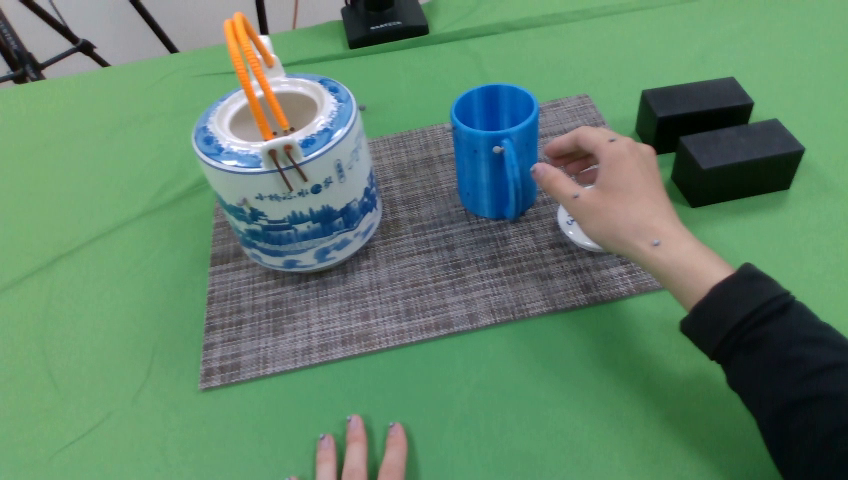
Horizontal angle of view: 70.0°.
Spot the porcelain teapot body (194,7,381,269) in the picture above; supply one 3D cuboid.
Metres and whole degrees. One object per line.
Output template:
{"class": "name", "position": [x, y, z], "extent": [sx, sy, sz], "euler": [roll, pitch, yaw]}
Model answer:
{"class": "porcelain teapot body", "position": [-0.133, -0.108, 0.560], "extent": [0.145, 0.227, 0.203], "euler": [-18, 47, -7]}

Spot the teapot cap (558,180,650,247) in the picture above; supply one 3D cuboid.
{"class": "teapot cap", "position": [0.168, -0.031, 0.566], "extent": [0.085, 0.044, 0.084], "euler": [-3, 45, 3]}

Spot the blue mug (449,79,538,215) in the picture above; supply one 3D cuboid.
{"class": "blue mug", "position": [0.073, -0.079, 0.584], "extent": [0.082, 0.107, 0.115], "euler": [-12, 47, -2]}
